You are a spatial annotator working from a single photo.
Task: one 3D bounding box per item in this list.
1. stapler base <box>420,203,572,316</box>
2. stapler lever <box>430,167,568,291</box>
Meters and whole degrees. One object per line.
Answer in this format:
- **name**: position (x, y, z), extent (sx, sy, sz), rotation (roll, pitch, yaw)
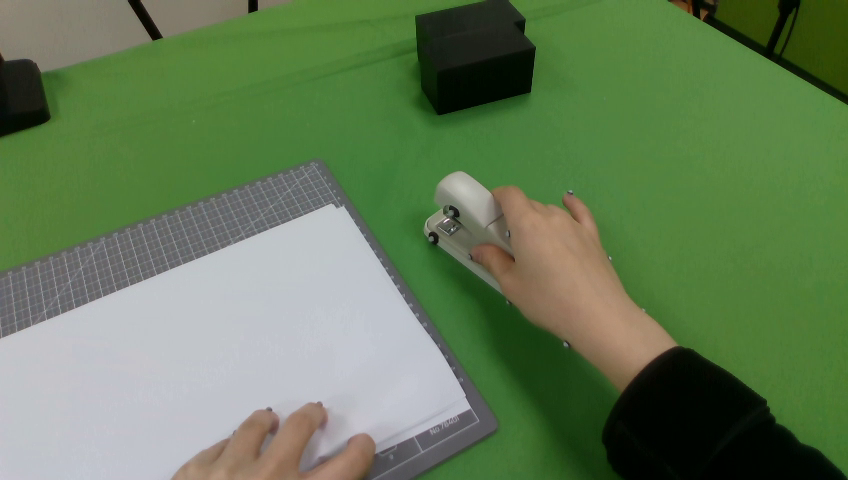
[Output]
- **stapler base**: position (0.051, 0.004, 0.459), extent (0.041, 0.024, 0.129), rotation (-39, 60, -24)
- **stapler lever**: position (0.051, -0.012, 0.439), extent (0.027, 0.040, 0.117), rotation (-39, 60, -24)
